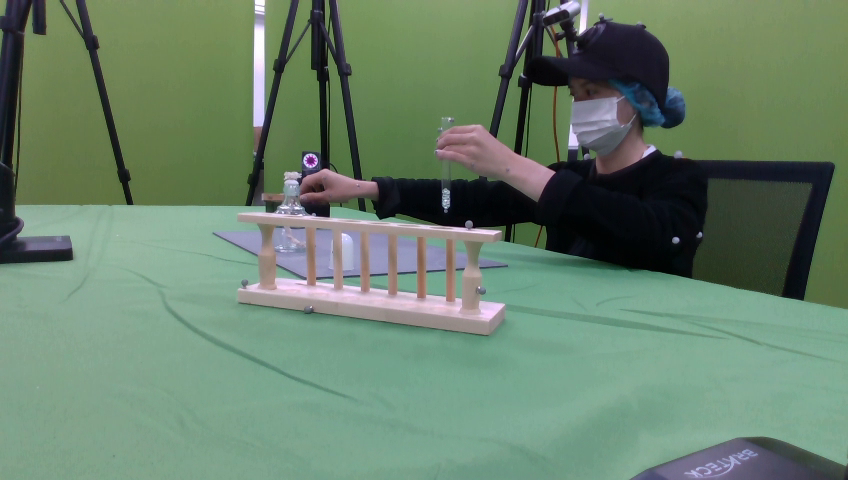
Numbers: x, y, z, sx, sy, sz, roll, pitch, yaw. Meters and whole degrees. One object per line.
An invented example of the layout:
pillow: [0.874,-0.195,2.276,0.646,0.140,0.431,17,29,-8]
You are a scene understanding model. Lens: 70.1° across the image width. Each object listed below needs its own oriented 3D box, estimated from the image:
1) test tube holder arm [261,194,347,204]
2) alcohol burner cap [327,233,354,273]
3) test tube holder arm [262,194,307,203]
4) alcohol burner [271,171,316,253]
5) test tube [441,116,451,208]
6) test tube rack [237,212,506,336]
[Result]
test tube holder arm: [-0.241,-0.084,1.232,0.179,0.015,0.013,0,16,-33]
alcohol burner cap: [-0.104,0.015,0.752,0.034,0.048,0.034,3,6,0]
test tube holder arm: [-0.277,-0.082,1.203,0.088,0.015,0.010,0,16,-31]
alcohol burner: [-0.196,-0.041,0.884,0.078,0.119,0.078,3,5,0]
test tube: [0.036,-0.127,0.988,0.017,0.150,0.017,-1,10,0]
test tube rack: [-0.049,0.024,0.552,0.242,0.085,0.067,5,8,18]
